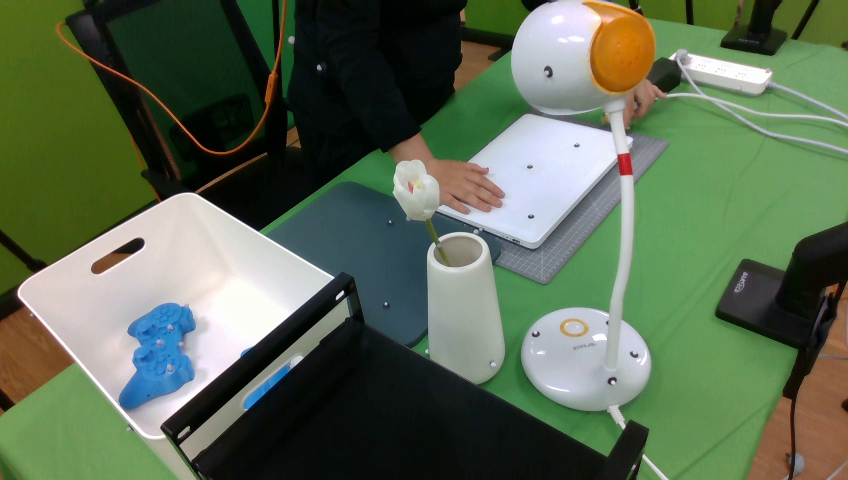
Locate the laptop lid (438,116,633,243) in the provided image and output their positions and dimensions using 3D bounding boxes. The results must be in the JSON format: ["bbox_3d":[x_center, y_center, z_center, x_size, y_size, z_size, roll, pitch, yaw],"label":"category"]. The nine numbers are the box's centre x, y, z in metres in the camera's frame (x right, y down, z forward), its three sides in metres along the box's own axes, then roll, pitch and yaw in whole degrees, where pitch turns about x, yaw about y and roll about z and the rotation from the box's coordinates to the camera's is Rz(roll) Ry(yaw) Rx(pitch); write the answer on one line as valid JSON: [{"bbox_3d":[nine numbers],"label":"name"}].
[{"bbox_3d":[0.190,-0.126,1.081,0.239,0.013,0.358,23,49,35],"label":"laptop lid"}]

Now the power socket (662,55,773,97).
[{"bbox_3d":[0.620,-0.353,1.289,0.225,0.033,0.072,26,50,33],"label":"power socket"}]

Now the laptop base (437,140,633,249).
[{"bbox_3d":[0.194,-0.117,1.087,0.233,0.023,0.355,20,48,35],"label":"laptop base"}]

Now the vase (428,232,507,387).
[{"bbox_3d":[0.051,0.087,0.728,0.098,0.201,0.097,-3,40,3],"label":"vase"}]

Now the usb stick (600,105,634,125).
[{"bbox_3d":[0.366,-0.235,1.151,0.059,0.021,0.027,-25,17,2],"label":"usb stick"}]

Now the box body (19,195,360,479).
[{"bbox_3d":[-0.287,0.118,0.772,0.361,0.161,0.255,26,50,33],"label":"box body"}]

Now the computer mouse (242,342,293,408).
[{"bbox_3d":[-0.200,0.178,0.776,0.063,0.041,0.116,-11,43,-8],"label":"computer mouse"}]

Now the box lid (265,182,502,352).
[{"bbox_3d":[-0.087,0.023,0.971,0.368,0.015,0.264,23,49,31],"label":"box lid"}]

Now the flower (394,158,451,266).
[{"bbox_3d":[0.028,0.035,0.664,0.043,0.364,0.038,36,73,29],"label":"flower"}]

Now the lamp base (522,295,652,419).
[{"bbox_3d":[0.201,0.095,0.709,0.161,0.181,0.178,-16,43,-10],"label":"lamp base"}]

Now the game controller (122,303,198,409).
[{"bbox_3d":[-0.363,0.149,0.828,0.097,0.052,0.154,-13,41,-9],"label":"game controller"}]

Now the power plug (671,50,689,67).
[{"bbox_3d":[0.541,-0.379,1.302,0.073,0.053,0.035,-30,47,-22],"label":"power plug"}]

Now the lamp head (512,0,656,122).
[{"bbox_3d":[0.156,-0.168,0.563,0.113,0.113,0.122,-18,23,-12],"label":"lamp head"}]
